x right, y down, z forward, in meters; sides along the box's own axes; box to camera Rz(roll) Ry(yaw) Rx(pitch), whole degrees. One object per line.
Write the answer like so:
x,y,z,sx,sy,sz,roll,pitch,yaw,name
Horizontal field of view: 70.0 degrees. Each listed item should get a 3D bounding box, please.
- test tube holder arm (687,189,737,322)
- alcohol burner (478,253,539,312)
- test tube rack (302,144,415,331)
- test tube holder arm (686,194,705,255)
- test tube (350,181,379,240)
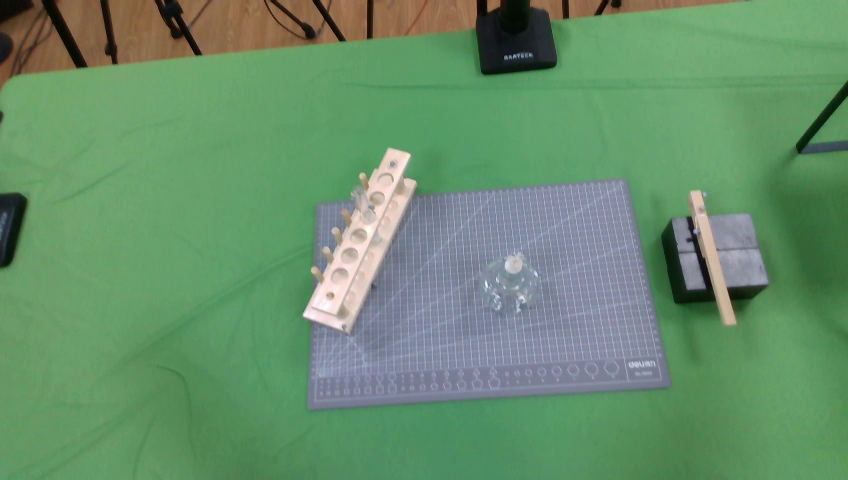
0.352,0.015,0.743,0.015,0.013,0.177,-9,61,12,test tube holder arm
0.106,0.046,0.753,0.078,0.120,0.077,-1,65,3,alcohol burner
-0.090,-0.009,0.808,0.066,0.086,0.241,18,68,13,test tube rack
0.351,-0.022,0.769,0.015,0.010,0.087,-9,61,12,test tube holder arm
-0.073,-0.034,0.763,0.017,0.151,0.017,-1,68,3,test tube
